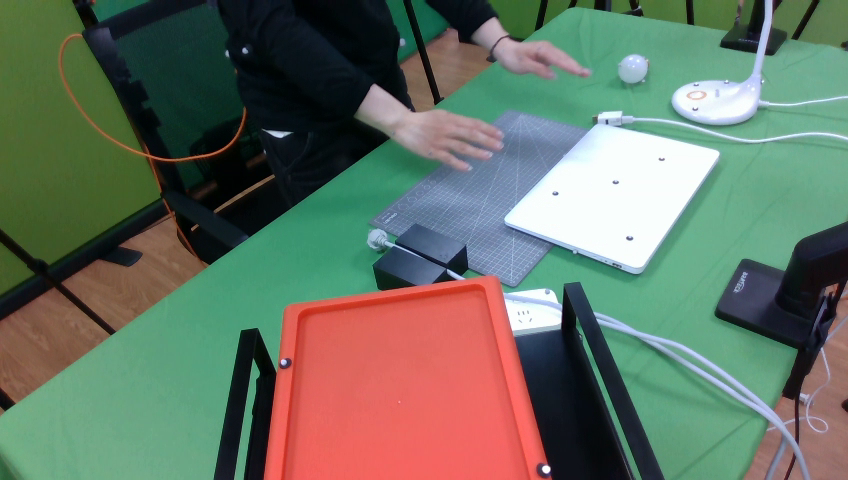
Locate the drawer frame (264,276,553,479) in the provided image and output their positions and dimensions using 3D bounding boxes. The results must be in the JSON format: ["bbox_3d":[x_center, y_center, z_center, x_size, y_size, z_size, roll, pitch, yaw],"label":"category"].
[{"bbox_3d":[-0.016,0.137,0.490,0.202,0.083,0.212,-8,41,-1],"label":"drawer frame"}]

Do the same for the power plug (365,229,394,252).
[{"bbox_3d":[-0.068,0.010,0.954,0.035,0.053,0.072,-40,52,2],"label":"power plug"}]

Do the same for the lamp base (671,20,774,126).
[{"bbox_3d":[0.581,-0.332,1.154,0.179,0.181,0.160,2,41,7],"label":"lamp base"}]

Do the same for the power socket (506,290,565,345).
[{"bbox_3d":[0.081,0.112,0.822,0.227,0.033,0.072,-7,41,0],"label":"power socket"}]

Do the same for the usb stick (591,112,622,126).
[{"bbox_3d":[0.360,-0.239,1.197,0.059,0.021,0.027,4,43,27],"label":"usb stick"}]

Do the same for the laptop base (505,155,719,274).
[{"bbox_3d":[0.326,-0.083,1.028,0.233,0.023,0.355,21,48,32],"label":"laptop base"}]

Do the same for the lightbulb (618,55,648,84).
[{"bbox_3d":[0.464,-0.376,1.324,0.059,0.059,0.108,22,34,30],"label":"lightbulb"}]

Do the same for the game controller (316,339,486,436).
[{"bbox_3d":[-0.020,0.119,0.533,0.155,0.052,0.096,-3,40,1],"label":"game controller"}]

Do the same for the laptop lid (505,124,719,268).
[{"bbox_3d":[0.323,-0.093,1.021,0.240,0.013,0.358,23,49,32],"label":"laptop lid"}]

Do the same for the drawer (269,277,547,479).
[{"bbox_3d":[-0.018,0.137,0.493,0.195,0.073,0.210,-7,41,-1],"label":"drawer"}]
